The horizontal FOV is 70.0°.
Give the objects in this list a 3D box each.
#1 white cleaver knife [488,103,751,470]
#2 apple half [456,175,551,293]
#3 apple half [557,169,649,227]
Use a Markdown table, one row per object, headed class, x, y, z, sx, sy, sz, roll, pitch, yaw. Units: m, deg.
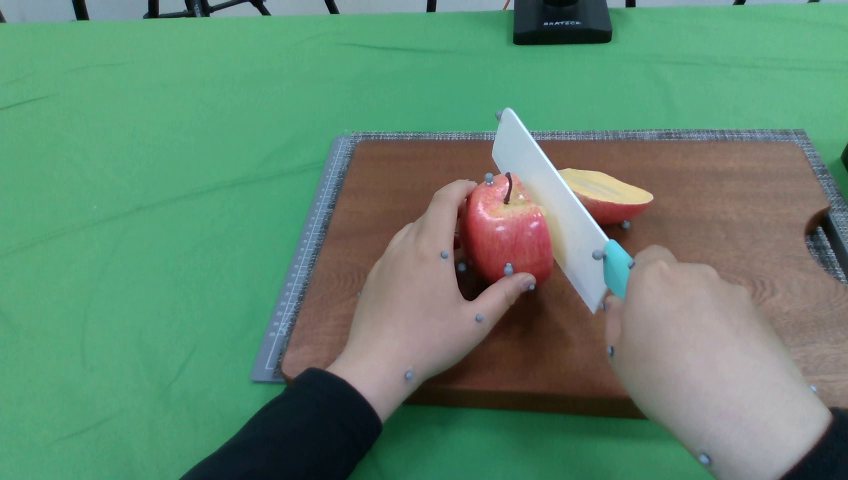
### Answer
| class | x | y | z | sx | sy | sz | roll | pitch | yaw |
| --- | --- | --- | --- | --- | --- | --- | --- | --- | --- |
| white cleaver knife | 0.105 | 0.012 | 0.387 | 0.021 | 0.066 | 0.283 | -13 | 50 | -15 |
| apple half | 0.050 | 0.001 | 0.427 | 0.053 | 0.075 | 0.080 | -18 | 49 | -6 |
| apple half | 0.128 | -0.028 | 0.470 | 0.081 | 0.033 | 0.080 | 9 | 25 | -4 |
